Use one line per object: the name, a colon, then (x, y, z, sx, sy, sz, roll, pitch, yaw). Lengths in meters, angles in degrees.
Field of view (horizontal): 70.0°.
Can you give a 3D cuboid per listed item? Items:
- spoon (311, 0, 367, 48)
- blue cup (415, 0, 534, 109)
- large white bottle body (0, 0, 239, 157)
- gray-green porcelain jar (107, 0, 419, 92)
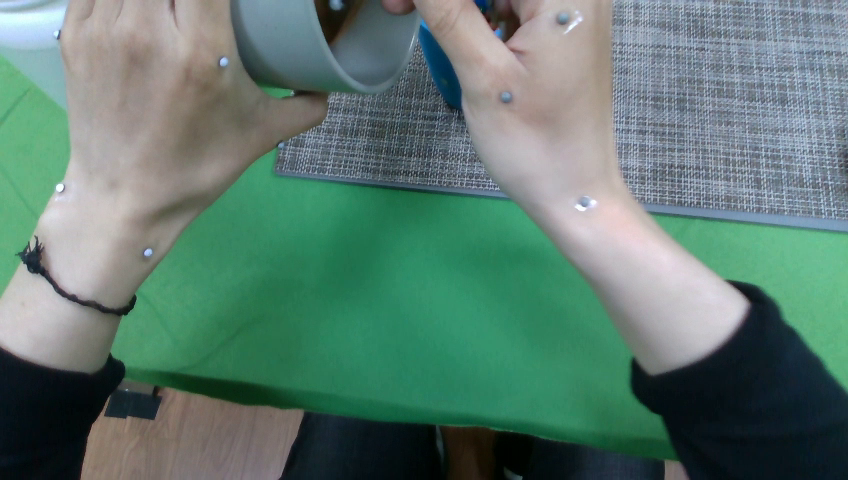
spoon: (-0.014, -0.121, 0.272, 0.022, 0.192, 0.041, -3, 95, -35)
blue cup: (0.034, -0.144, 0.424, 0.092, 0.101, 0.092, -2, 70, 6)
large white bottle body: (-0.217, -0.153, 0.406, 0.130, 0.186, 0.129, -1, 70, 4)
gray-green porcelain jar: (-0.080, -0.129, 0.297, 0.126, 0.107, 0.105, 9, 70, 23)
